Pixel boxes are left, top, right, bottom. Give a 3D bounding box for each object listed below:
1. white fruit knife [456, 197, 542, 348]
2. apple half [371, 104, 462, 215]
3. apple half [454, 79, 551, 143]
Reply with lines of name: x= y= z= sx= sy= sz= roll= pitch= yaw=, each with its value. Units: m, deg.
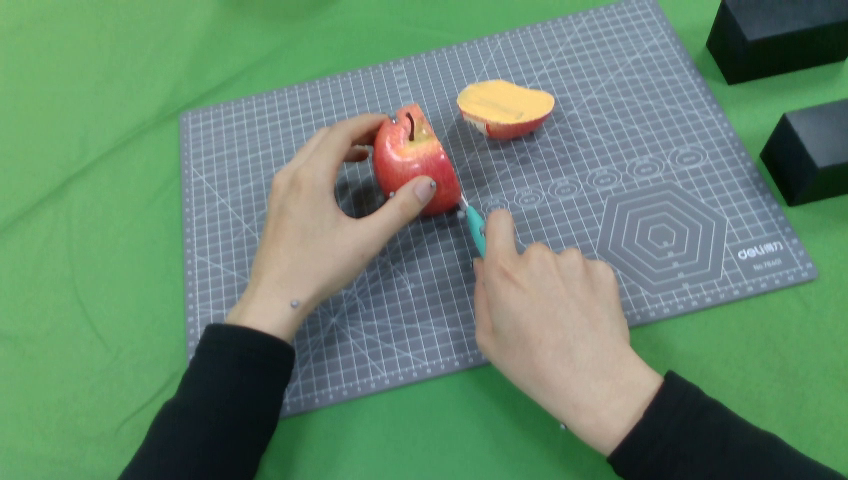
white fruit knife: x=0.035 y=-0.012 z=0.454 sx=0.016 sy=0.028 sz=0.205 roll=-21 pitch=58 yaw=-9
apple half: x=-0.011 y=-0.054 z=0.458 sx=0.053 sy=0.075 sz=0.080 roll=-28 pitch=65 yaw=-3
apple half: x=0.061 y=-0.098 z=0.492 sx=0.081 sy=0.033 sz=0.080 roll=-1 pitch=41 yaw=2
